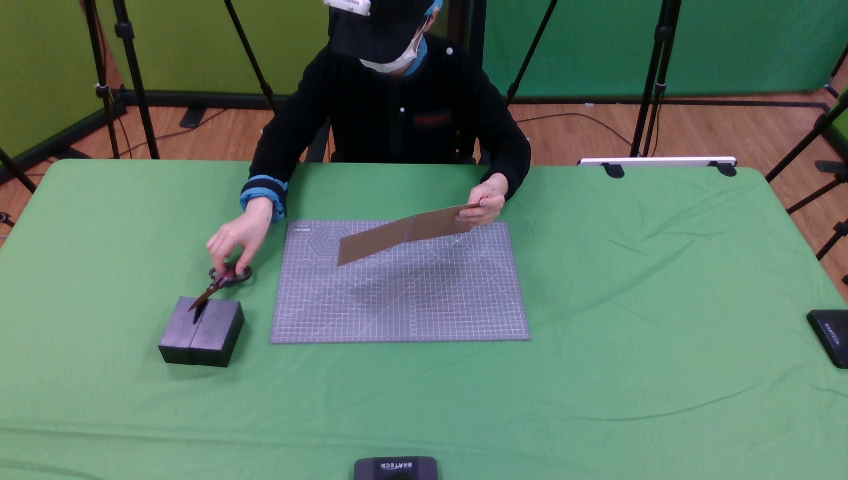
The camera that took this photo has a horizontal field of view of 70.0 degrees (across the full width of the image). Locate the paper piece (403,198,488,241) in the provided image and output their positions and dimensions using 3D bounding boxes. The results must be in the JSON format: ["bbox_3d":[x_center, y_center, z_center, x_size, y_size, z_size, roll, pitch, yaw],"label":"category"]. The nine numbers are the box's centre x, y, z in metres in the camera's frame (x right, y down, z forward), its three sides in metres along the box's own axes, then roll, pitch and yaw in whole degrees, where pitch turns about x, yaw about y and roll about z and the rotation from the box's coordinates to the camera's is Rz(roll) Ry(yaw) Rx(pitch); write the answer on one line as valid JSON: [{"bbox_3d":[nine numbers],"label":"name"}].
[{"bbox_3d":[0.036,-0.034,1.092,0.138,0.136,0.008,-11,73,-14],"label":"paper piece"}]

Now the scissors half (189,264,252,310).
[{"bbox_3d":[-0.352,0.082,1.055,0.040,0.013,0.175,13,24,14],"label":"scissors half"}]

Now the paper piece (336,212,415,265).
[{"bbox_3d":[-0.088,-0.001,1.054,0.136,0.136,0.004,-20,73,-17],"label":"paper piece"}]

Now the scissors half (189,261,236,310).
[{"bbox_3d":[-0.372,0.077,1.057,0.040,0.013,0.174,12,23,-3],"label":"scissors half"}]
